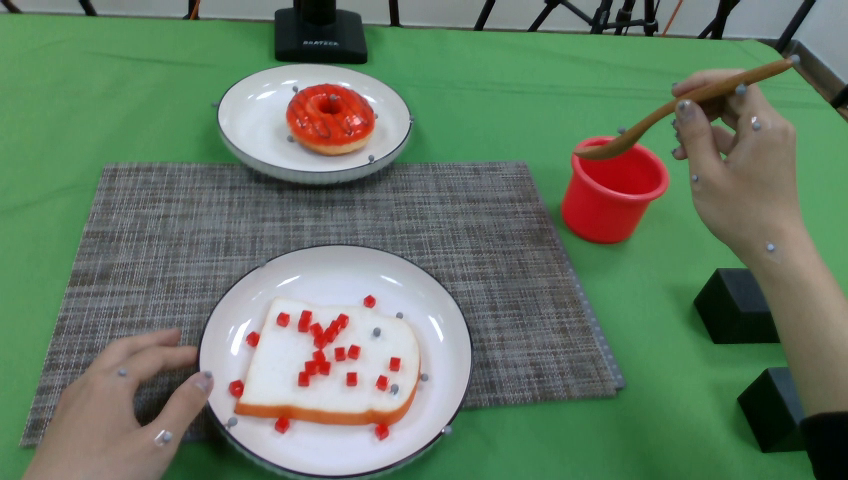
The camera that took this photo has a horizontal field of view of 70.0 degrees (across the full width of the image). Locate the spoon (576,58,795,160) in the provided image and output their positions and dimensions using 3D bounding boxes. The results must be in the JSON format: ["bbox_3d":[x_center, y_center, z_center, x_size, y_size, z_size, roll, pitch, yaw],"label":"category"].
[{"bbox_3d":[0.181,-0.092,0.450,0.042,0.193,0.021,-12,82,-25],"label":"spoon"}]

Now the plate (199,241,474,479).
[{"bbox_3d":[-0.065,0.088,0.478,0.209,0.038,0.207,5,47,-5],"label":"plate"}]

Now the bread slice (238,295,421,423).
[{"bbox_3d":[-0.068,0.092,0.478,0.131,0.019,0.104,7,47,-2],"label":"bread slice"}]

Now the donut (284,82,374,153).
[{"bbox_3d":[-0.103,-0.135,0.665,0.099,0.048,0.098,6,47,-6],"label":"donut"}]

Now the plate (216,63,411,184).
[{"bbox_3d":[-0.119,-0.127,0.671,0.208,0.039,0.205,5,45,-5],"label":"plate"}]
